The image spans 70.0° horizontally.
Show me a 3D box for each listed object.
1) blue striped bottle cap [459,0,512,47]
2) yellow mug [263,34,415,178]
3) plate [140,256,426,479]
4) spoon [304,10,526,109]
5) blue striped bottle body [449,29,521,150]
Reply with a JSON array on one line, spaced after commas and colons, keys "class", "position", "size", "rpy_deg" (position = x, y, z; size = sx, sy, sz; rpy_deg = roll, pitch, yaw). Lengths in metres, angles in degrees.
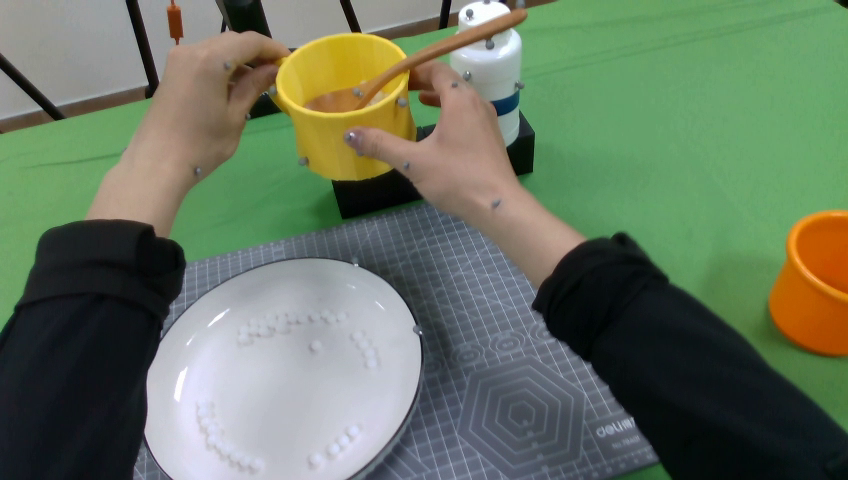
[{"class": "blue striped bottle cap", "position": [0.051, -0.181, 0.503], "size": [0.044, 0.021, 0.044], "rpy_deg": [-5, 48, 6]}, {"class": "yellow mug", "position": [-0.073, -0.111, 0.478], "size": [0.130, 0.064, 0.099], "rpy_deg": [19, 54, 19]}, {"class": "plate", "position": [-0.101, 0.102, 0.455], "size": [0.207, 0.039, 0.205], "rpy_deg": [-3, 47, 3]}, {"class": "spoon", "position": [-0.016, -0.125, 0.445], "size": [0.193, 0.022, 0.041], "rpy_deg": [-18, 48, 31]}, {"class": "blue striped bottle body", "position": [0.054, -0.146, 0.542], "size": [0.063, 0.122, 0.062], "rpy_deg": [-3, 47, 4]}]
